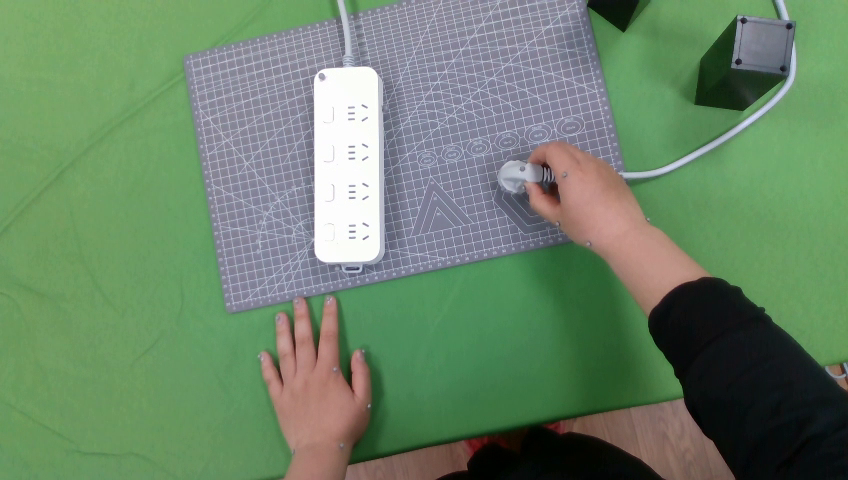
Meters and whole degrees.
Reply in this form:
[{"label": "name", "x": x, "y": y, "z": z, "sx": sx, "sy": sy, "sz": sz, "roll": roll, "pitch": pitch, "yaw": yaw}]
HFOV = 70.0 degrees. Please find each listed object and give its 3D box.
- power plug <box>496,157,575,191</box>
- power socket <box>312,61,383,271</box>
[{"label": "power plug", "x": 0.109, "y": -0.061, "z": 0.621, "sx": 0.073, "sy": 0.052, "sz": 0.035, "roll": 21, "pitch": 81, "yaw": -8}, {"label": "power socket", "x": -0.081, "y": -0.081, "z": 0.646, "sx": 0.072, "sy": 0.032, "sz": 0.226, "roll": -2, "pitch": 85, "yaw": 5}]
